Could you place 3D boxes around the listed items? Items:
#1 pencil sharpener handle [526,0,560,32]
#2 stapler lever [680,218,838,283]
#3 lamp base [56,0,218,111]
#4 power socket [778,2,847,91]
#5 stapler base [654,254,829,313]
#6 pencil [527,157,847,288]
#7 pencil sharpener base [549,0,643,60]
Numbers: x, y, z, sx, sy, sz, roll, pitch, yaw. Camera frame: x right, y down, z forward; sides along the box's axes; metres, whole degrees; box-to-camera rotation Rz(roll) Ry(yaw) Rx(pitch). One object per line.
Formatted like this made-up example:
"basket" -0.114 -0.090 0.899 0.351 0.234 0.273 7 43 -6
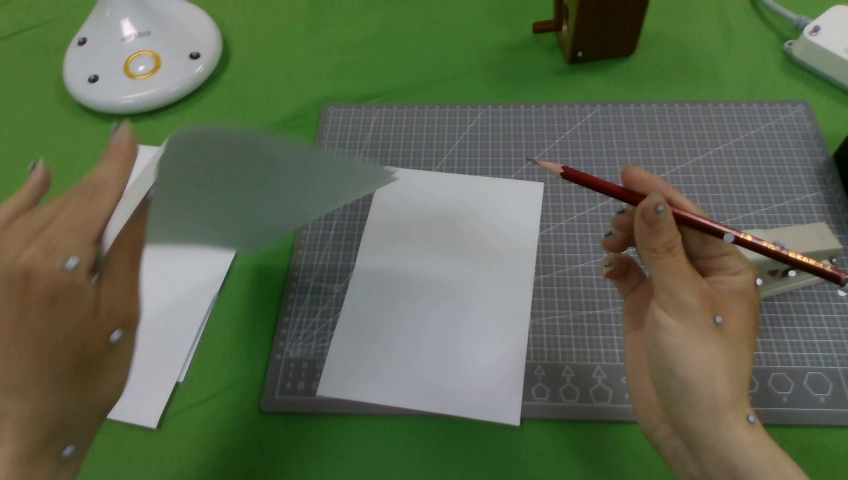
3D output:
"pencil sharpener handle" 0.108 -0.226 0.553 0.030 0.068 0.035 -9 35 -2
"stapler lever" 0.239 0.004 0.430 0.118 0.040 0.026 -13 58 -7
"lamp base" -0.303 -0.242 0.561 0.161 0.182 0.177 -26 57 -13
"power socket" 0.436 -0.143 0.540 0.072 0.033 0.224 -35 61 -18
"stapler base" 0.239 0.019 0.450 0.131 0.024 0.041 -13 58 -6
"pencil" 0.143 -0.008 0.310 0.193 0.012 0.012 23 61 13
"pencil sharpener base" 0.159 -0.231 0.570 0.077 0.108 0.061 -9 57 -2
